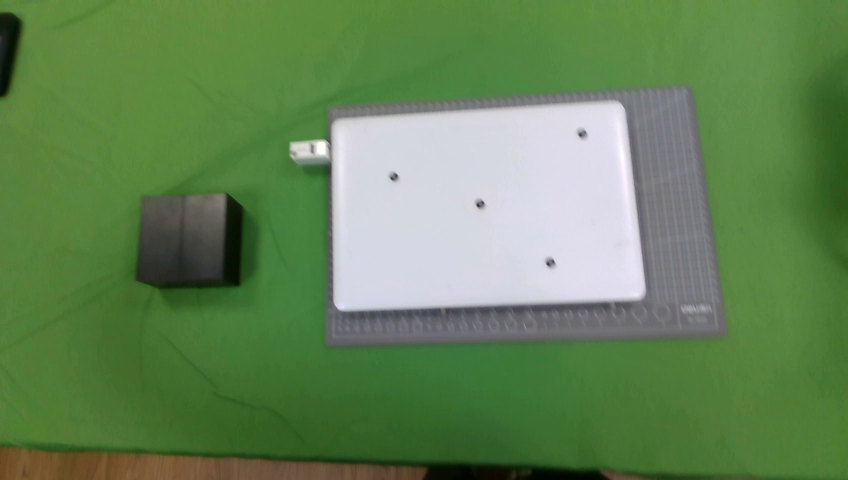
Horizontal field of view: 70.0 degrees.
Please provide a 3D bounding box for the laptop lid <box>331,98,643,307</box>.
[{"bbox_3d":[0.065,-0.046,0.703,0.356,0.013,0.240,-1,79,4],"label":"laptop lid"}]

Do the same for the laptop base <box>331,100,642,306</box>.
[{"bbox_3d":[0.066,-0.045,0.715,0.354,0.023,0.234,-3,80,3],"label":"laptop base"}]

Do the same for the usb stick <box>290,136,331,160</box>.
[{"bbox_3d":[-0.130,-0.111,0.734,0.059,0.027,0.021,-2,77,4],"label":"usb stick"}]
